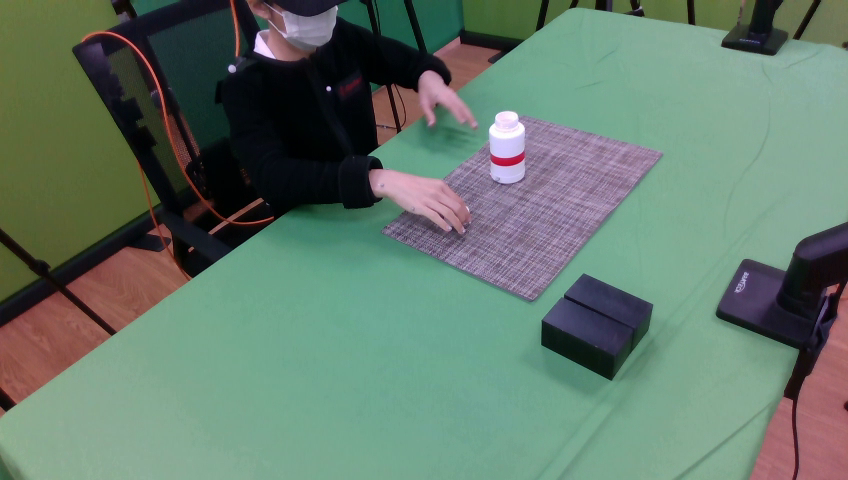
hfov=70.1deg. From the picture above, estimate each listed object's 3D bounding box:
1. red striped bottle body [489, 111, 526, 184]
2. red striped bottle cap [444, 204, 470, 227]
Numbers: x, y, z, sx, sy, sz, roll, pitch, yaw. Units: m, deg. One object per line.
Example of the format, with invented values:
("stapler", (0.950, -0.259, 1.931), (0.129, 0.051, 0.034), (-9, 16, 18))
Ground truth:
("red striped bottle body", (0.147, -0.164, 1.064), (0.063, 0.120, 0.062), (-5, 39, 4))
("red striped bottle cap", (0.056, -0.042, 1.015), (0.044, 0.018, 0.044), (-2, 42, 3))
